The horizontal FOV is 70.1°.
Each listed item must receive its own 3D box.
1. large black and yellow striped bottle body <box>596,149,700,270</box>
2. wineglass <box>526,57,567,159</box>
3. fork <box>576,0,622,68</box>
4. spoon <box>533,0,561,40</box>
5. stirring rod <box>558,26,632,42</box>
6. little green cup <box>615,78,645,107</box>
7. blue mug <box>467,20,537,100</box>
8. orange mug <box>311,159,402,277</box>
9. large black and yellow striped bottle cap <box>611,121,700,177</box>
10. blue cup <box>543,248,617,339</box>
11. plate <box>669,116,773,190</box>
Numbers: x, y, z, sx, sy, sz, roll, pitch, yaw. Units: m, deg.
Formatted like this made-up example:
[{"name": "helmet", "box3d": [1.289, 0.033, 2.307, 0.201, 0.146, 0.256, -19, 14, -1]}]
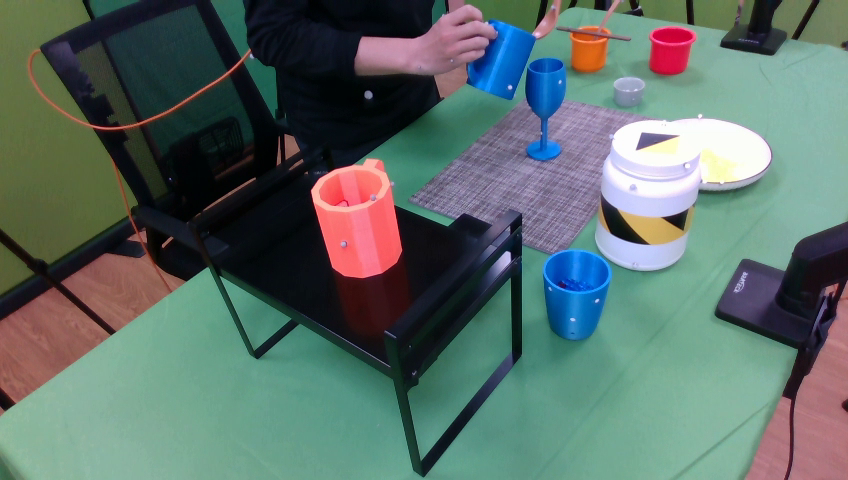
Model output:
[{"name": "large black and yellow striped bottle body", "box3d": [0.323, -0.062, 0.877, 0.131, 0.185, 0.130, -5, 40, 4]}, {"name": "wineglass", "box3d": [0.221, -0.237, 1.097, 0.074, 0.173, 0.073, -4, 41, 4]}, {"name": "fork", "box3d": [0.409, -0.484, 1.381, 0.028, 0.019, 0.207, 37, 101, 46]}, {"name": "spoon", "box3d": [0.230, -0.412, 0.980, 0.022, 0.193, 0.041, 20, 13, -25]}, {"name": "stirring rod", "box3d": [0.381, -0.463, 1.356, 0.175, 0.006, 0.014, 22, 48, 30]}, {"name": "little green cup", "box3d": [0.426, -0.306, 1.257, 0.061, 0.039, 0.061, -4, 40, 4]}, {"name": "blue mug", "box3d": [0.115, -0.294, 0.980, 0.117, 0.106, 0.081, 3, 25, -43]}, {"name": "orange mug", "box3d": [-0.070, -0.034, 0.694, 0.083, 0.101, 0.126, 5, 46, 16]}, {"name": "large black and yellow striped bottle cap", "box3d": [0.315, -0.126, 0.823, 0.115, 0.019, 0.114, -4, 42, 4]}, {"name": "blue cup", "box3d": [0.199, 0.076, 0.797, 0.092, 0.100, 0.092, -4, 39, 4]}, {"name": "plate", "box3d": [0.495, -0.149, 1.063, 0.209, 0.038, 0.208, -5, 40, 4]}]
